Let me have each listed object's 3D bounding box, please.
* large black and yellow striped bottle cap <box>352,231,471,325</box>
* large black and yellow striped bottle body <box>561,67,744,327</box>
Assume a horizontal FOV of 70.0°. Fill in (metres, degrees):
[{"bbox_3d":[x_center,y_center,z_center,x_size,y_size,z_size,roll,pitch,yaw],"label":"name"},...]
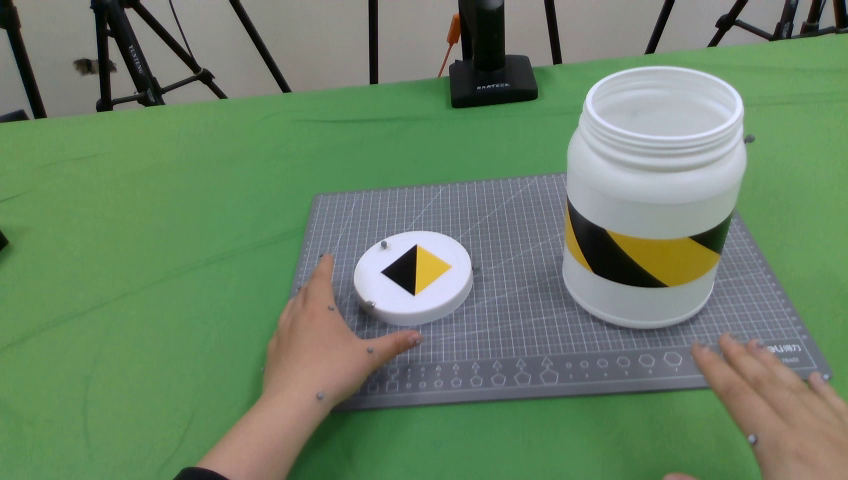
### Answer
[{"bbox_3d":[-0.012,0.033,0.584,0.115,0.019,0.114,-4,42,4],"label":"large black and yellow striped bottle cap"},{"bbox_3d":[0.181,-0.033,0.498,0.131,0.186,0.129,-5,41,5],"label":"large black and yellow striped bottle body"}]
